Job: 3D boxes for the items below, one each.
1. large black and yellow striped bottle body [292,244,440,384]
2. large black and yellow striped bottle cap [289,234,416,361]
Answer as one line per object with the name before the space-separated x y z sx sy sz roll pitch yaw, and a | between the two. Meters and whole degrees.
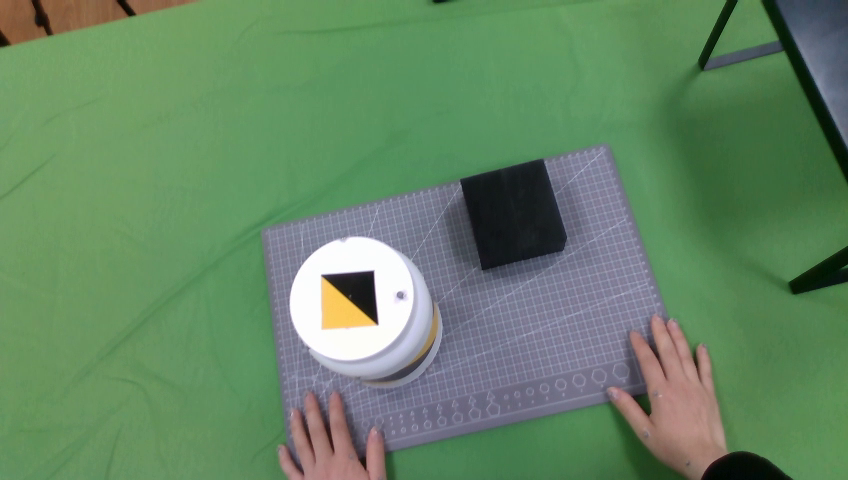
large black and yellow striped bottle body | -0.056 0.076 0.627 0.130 0.185 0.130 -2 72 7
large black and yellow striped bottle cap | -0.065 0.051 0.547 0.115 0.019 0.114 -2 73 7
